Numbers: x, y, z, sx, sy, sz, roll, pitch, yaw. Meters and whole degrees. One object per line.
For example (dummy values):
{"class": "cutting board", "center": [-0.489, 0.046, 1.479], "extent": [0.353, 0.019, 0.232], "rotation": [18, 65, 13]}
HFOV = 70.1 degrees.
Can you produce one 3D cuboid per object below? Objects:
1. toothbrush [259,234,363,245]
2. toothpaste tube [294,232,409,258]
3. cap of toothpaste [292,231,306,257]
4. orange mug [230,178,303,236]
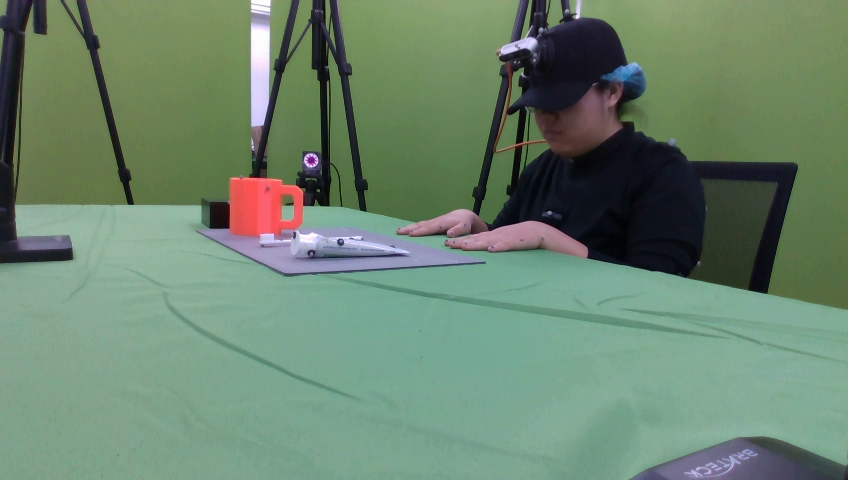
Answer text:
{"class": "toothbrush", "center": [-0.175, -0.002, 0.958], "extent": [0.183, 0.016, 0.014], "rotation": [-1, -5, -39]}
{"class": "toothpaste tube", "center": [-0.102, 0.010, 0.853], "extent": [0.166, 0.034, 0.055], "rotation": [3, 11, -34]}
{"class": "cap of toothpaste", "center": [-0.169, 0.005, 0.812], "extent": [0.011, 0.037, 0.037], "rotation": [6, 4, -29]}
{"class": "orange mug", "center": [-0.275, -0.060, 1.058], "extent": [0.126, 0.101, 0.083], "rotation": [-2, 8, -5]}
